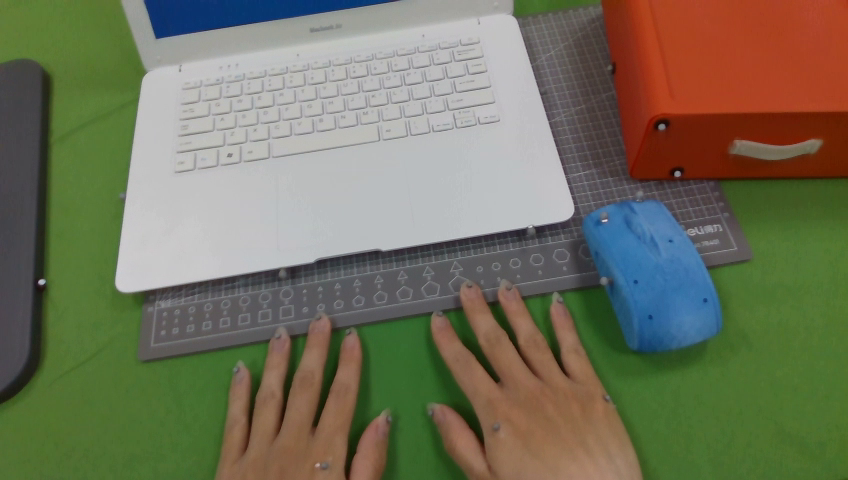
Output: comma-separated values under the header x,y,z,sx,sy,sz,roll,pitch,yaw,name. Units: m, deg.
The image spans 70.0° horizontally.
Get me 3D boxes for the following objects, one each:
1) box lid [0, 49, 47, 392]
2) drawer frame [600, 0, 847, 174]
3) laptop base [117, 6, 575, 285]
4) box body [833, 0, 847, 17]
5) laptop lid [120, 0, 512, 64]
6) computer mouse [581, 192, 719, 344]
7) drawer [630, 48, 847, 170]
x,y,z,sx,sy,sz,roll,pitch,yaw,name
-0.451,-0.009,0.506,0.263,0.015,0.367,-17,59,-5,box lid
0.258,-0.159,0.490,0.201,0.083,0.211,-1,59,4,drawer frame
-0.073,-0.090,0.516,0.354,0.023,0.233,-9,63,-1,laptop base
0.495,-0.238,0.472,0.254,0.162,0.360,-13,59,-3,box body
-0.105,-0.289,0.517,0.357,0.244,0.013,-10,29,0,laptop lid
0.155,0.014,0.421,0.063,0.041,0.116,-13,58,1,computer mouse
0.258,-0.157,0.489,0.194,0.074,0.210,0,59,4,drawer
